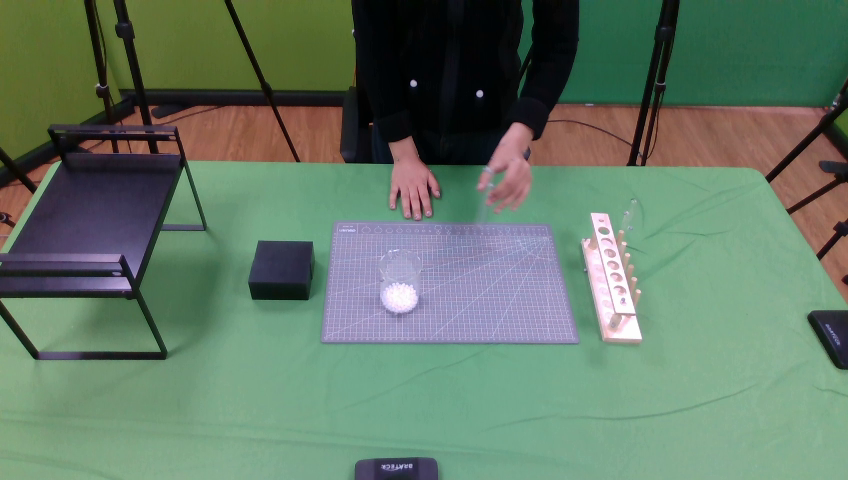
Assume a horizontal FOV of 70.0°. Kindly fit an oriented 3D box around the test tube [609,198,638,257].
[{"bbox_3d":[0.375,-0.021,1.141,0.017,0.151,0.017,2,45,-2],"label":"test tube"}]

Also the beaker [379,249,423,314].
[{"bbox_3d":[-0.044,0.074,1.066,0.074,0.101,0.083,-22,51,-23],"label":"beaker"}]

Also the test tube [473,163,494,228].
[{"bbox_3d":[0.110,-0.081,1.131,0.017,0.151,0.017,4,44,-4],"label":"test tube"}]

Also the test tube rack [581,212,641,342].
[{"bbox_3d":[0.351,0.063,1.121,0.067,0.085,0.241,2,46,-1],"label":"test tube rack"}]
